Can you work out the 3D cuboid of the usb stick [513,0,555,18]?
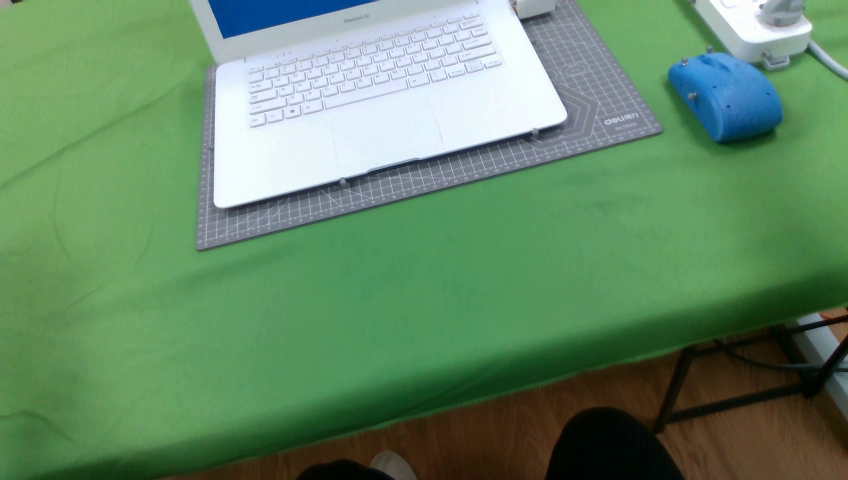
[{"bbox_3d":[0.118,-0.273,0.692,0.059,0.027,0.021,-15,52,4],"label":"usb stick"}]

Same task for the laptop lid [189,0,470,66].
[{"bbox_3d":[-0.097,-0.336,0.651,0.357,0.244,0.013,-16,38,1],"label":"laptop lid"}]

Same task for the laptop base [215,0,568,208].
[{"bbox_3d":[-0.051,-0.157,0.652,0.354,0.023,0.233,-15,54,0],"label":"laptop base"}]

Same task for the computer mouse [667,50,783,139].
[{"bbox_3d":[0.278,-0.143,0.564,0.063,0.041,0.116,-15,46,3],"label":"computer mouse"}]

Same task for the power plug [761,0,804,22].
[{"bbox_3d":[0.368,-0.227,0.588,0.072,0.053,0.035,-3,53,9],"label":"power plug"}]

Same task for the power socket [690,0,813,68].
[{"bbox_3d":[0.332,-0.266,0.652,0.072,0.033,0.224,-12,51,3],"label":"power socket"}]
